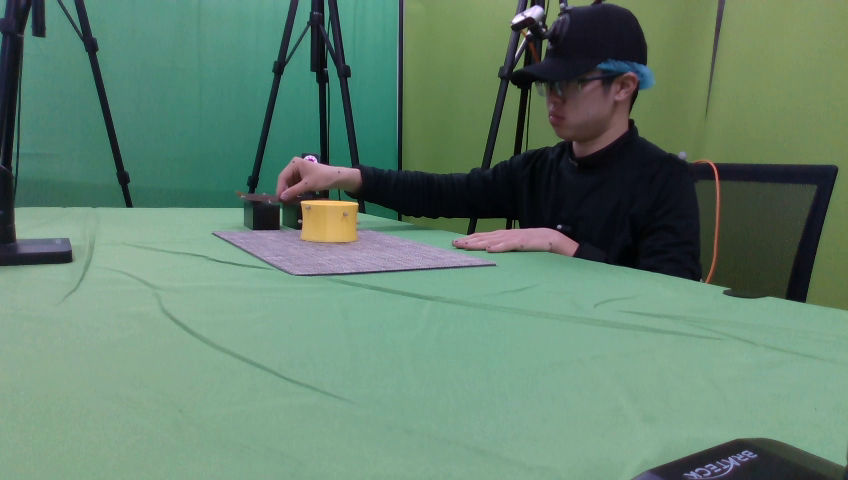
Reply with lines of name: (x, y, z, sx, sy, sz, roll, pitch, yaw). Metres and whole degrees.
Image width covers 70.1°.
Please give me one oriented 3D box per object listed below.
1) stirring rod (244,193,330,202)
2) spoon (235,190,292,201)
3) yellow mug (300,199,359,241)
stirring rod: (-0.268, -0.084, 1.200, 0.177, 0.014, 0.006, 0, -9, -34)
spoon: (-0.291, -0.088, 1.248, 0.195, 0.021, 0.041, 0, 6, -31)
yellow mug: (-0.157, -0.036, 1.060, 0.099, 0.064, 0.131, 6, 7, 27)
